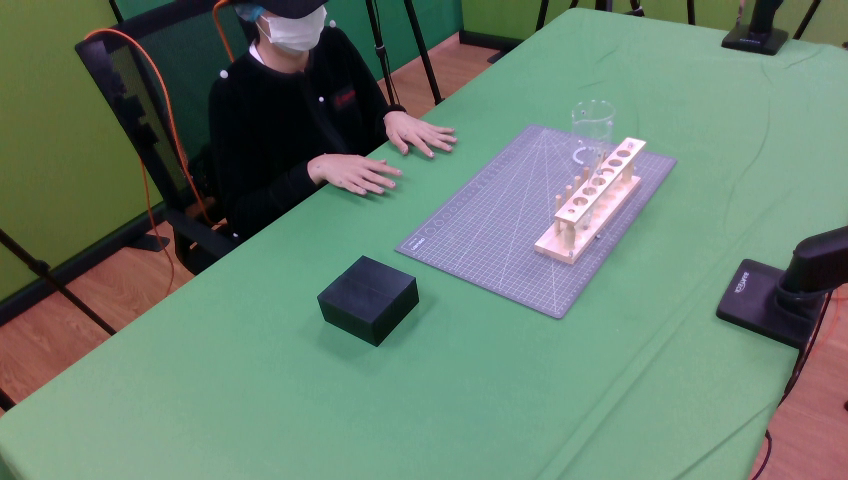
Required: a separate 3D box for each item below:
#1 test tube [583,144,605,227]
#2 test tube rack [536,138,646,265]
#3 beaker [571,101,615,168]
[{"bbox_3d":[0.251,-0.077,0.896,0.017,0.151,0.017,-2,43,3],"label":"test tube"},{"bbox_3d":[0.268,-0.071,0.964,0.066,0.085,0.243,23,49,32],"label":"test tube rack"},{"bbox_3d":[0.299,-0.186,1.086,0.084,0.101,0.073,-27,43,-21],"label":"beaker"}]
